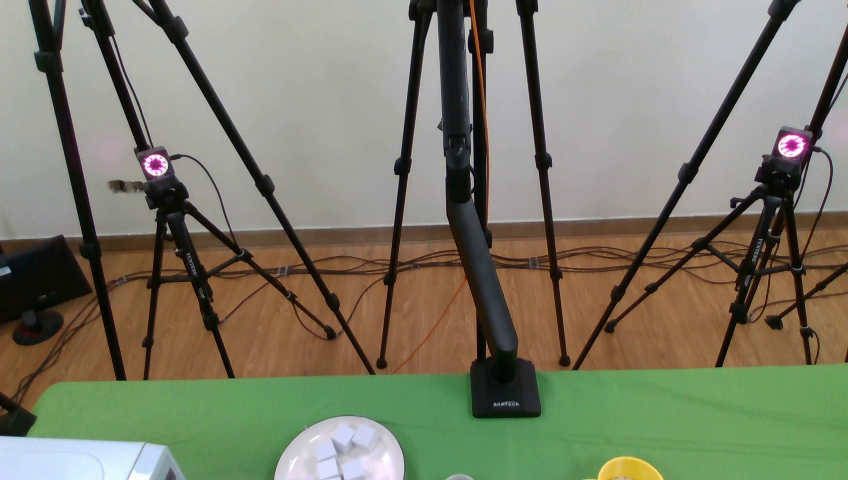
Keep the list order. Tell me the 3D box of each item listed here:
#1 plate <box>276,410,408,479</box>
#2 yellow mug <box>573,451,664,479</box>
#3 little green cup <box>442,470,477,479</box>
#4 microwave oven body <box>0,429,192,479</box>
[{"bbox_3d":[-0.129,0.370,0.968,0.207,0.039,0.205,-2,39,2],"label":"plate"},{"bbox_3d":[0.288,0.375,0.908,0.130,0.064,0.099,5,40,12],"label":"yellow mug"},{"bbox_3d":[0.055,0.390,0.930,0.061,0.039,0.061,-2,39,2],"label":"little green cup"},{"bbox_3d":[-0.490,0.474,0.685,0.326,0.262,0.437,1,40,5],"label":"microwave oven body"}]
